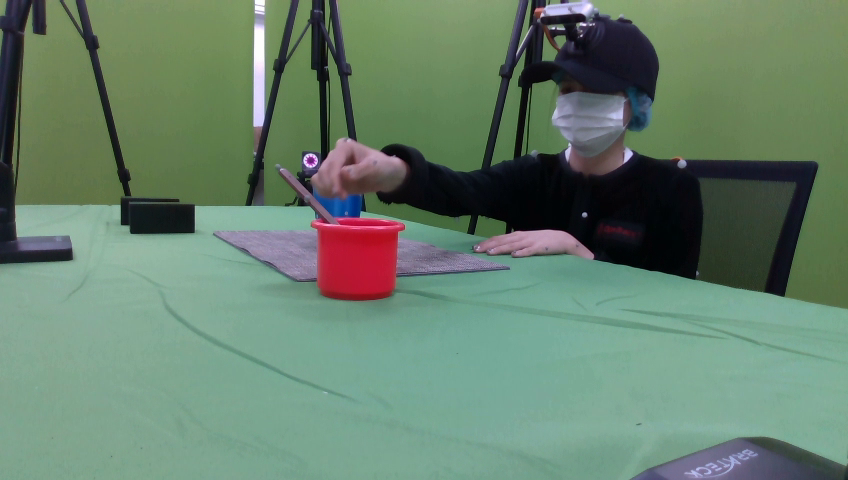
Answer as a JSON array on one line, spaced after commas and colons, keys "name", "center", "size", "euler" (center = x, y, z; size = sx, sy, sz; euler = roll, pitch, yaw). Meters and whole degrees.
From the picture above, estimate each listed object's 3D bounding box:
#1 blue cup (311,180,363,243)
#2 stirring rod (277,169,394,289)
[{"name": "blue cup", "center": [-0.144, -0.047, 0.997], "size": [0.093, 0.100, 0.092], "euler": [2, 6, 0]}, {"name": "stirring rod", "center": [-0.094, -0.013, 0.639], "size": [0.176, 0.006, 0.014], "euler": [46, 22, 7]}]
